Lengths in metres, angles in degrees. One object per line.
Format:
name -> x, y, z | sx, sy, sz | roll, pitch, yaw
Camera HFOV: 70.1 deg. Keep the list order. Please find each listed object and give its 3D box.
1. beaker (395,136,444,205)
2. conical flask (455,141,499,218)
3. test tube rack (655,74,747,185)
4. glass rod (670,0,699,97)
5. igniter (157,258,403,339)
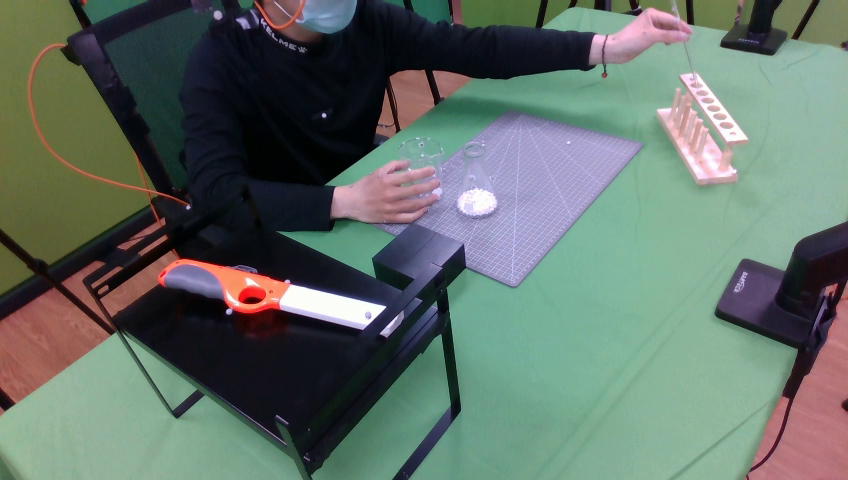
beaker -> -0.003, -0.118, 1.047 | 0.084, 0.101, 0.074 | 4, 42, 12
conical flask -> 0.085, -0.103, 0.999 | 0.075, 0.122, 0.075 | -4, 40, 4
test tube rack -> 0.491, -0.205, 1.092 | 0.067, 0.085, 0.241 | -5, 40, 3
glass rod -> 0.468, -0.342, 1.086 | 0.008, 0.200, 0.008 | -20, 12, 5
igniter -> -0.157, 0.059, 0.638 | 0.275, 0.025, 0.057 | 11, 43, 14
